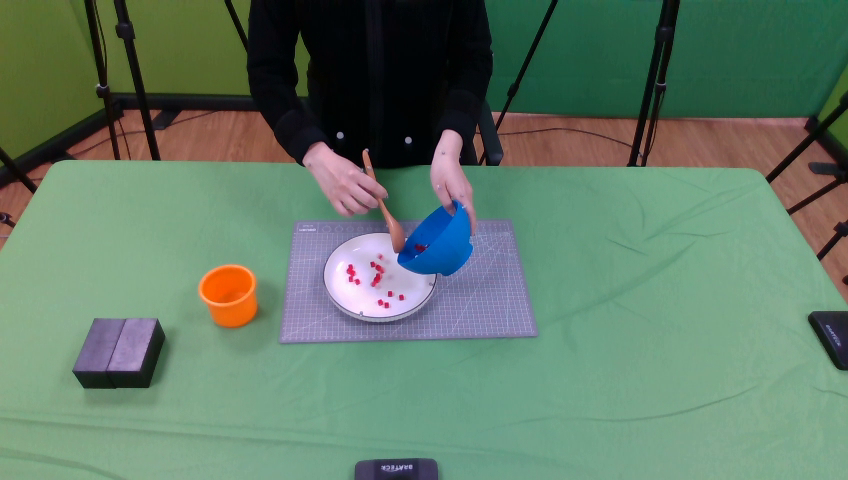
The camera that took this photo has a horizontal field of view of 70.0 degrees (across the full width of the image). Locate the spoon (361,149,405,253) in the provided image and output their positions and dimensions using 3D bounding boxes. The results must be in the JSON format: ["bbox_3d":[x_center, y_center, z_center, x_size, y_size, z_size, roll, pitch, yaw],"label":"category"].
[{"bbox_3d":[-0.072,-0.064,1.033,0.021,0.194,0.041,-7,26,37],"label":"spoon"}]

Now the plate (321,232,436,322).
[{"bbox_3d":[-0.083,0.070,1.109,0.209,0.038,0.208,3,46,-2],"label":"plate"}]

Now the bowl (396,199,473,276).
[{"bbox_3d":[0.031,0.010,1.043,0.077,0.151,0.151,44,47,-15],"label":"bowl"}]
